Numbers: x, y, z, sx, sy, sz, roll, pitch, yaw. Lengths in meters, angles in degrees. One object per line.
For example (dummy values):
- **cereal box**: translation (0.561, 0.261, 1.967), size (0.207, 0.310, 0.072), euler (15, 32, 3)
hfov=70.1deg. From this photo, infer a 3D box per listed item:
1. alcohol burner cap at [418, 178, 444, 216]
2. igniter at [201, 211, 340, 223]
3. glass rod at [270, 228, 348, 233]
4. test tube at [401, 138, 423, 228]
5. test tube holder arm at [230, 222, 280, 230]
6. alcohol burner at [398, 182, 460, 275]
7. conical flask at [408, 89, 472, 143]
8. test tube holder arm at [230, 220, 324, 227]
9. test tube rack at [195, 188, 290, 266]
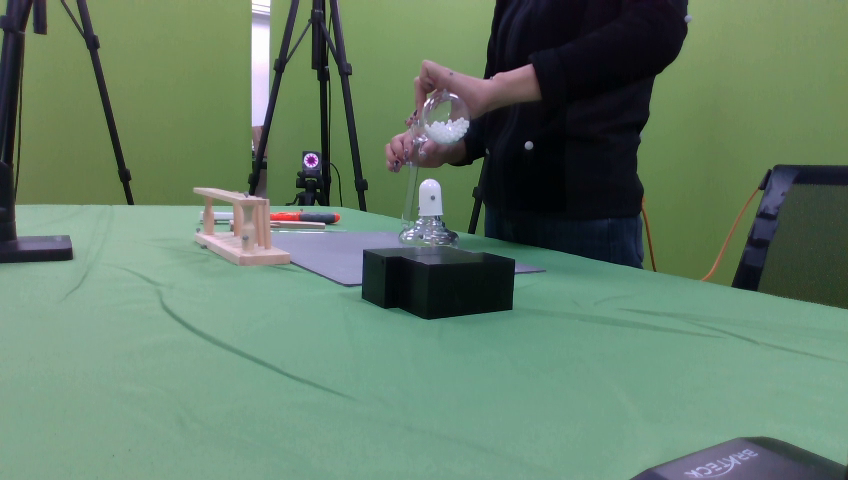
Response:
- **alcohol burner cap**: translation (0.007, -0.053, 0.745), size (0.034, 0.048, 0.034), euler (-3, 6, 1)
- **igniter**: translation (-0.311, -0.048, 1.243), size (0.278, 0.025, 0.057), euler (-1, -2, -24)
- **glass rod**: translation (-0.234, -0.017, 1.105), size (0.201, 0.008, 0.008), euler (1, 7, -26)
- **test tube**: translation (-0.021, -0.090, 0.973), size (0.017, 0.150, 0.017), euler (8, 21, -3)
- **test tube holder arm**: translation (-0.312, -0.025, 1.118), size (0.088, 0.015, 0.010), euler (-1, 44, -30)
- **alcohol burner**: translation (0.007, -0.017, 0.751), size (0.078, 0.119, 0.078), euler (3, 10, 0)
- **conical flask**: translation (0.014, -0.173, 0.888), size (0.075, 0.075, 0.121), euler (-1, 1, -20)
- **test tube holder arm**: translation (-0.275, -0.030, 1.144), size (0.179, 0.015, 0.013), euler (-2, 44, -31)
- **test tube rack**: translation (-0.266, -0.025, 0.864), size (0.067, 0.085, 0.241), euler (-2, 9, -33)
